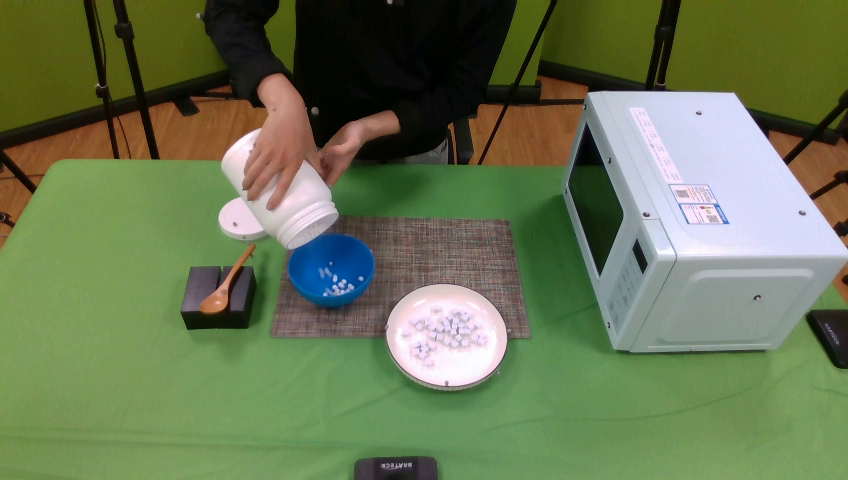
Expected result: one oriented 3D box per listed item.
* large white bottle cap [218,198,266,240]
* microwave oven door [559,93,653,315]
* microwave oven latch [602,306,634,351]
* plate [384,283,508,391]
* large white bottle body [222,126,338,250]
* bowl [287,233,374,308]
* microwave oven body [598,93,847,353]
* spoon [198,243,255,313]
[{"bbox_3d":[-0.355,-0.045,1.220,0.115,0.018,0.114,2,45,-2],"label":"large white bottle cap"},{"bbox_3d":[0.327,-0.074,1.123,0.039,0.245,0.353,-1,46,-5],"label":"microwave oven door"},{"bbox_3d":[0.332,0.153,1.044,0.030,0.029,0.078,0,45,-4],"label":"microwave oven latch"},{"bbox_3d":[0.036,0.165,1.029,0.209,0.038,0.208,2,49,-2],"label":"plate"},{"bbox_3d":[-0.243,-0.086,1.040,0.130,0.131,0.184,-32,83,-31],"label":"large white bottle body"},{"bbox_3d":[-0.164,0.068,1.078,0.151,0.077,0.150,3,46,-2],"label":"bowl"},{"bbox_3d":[0.475,-0.041,1.109,0.326,0.261,0.438,-1,45,-4],"label":"microwave oven body"},{"bbox_3d":[-0.334,0.062,1.052,0.041,0.022,0.193,9,40,7],"label":"spoon"}]
